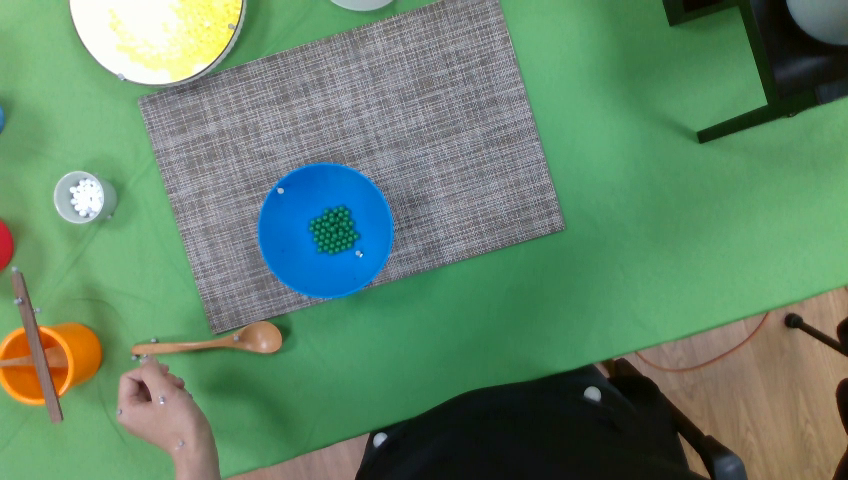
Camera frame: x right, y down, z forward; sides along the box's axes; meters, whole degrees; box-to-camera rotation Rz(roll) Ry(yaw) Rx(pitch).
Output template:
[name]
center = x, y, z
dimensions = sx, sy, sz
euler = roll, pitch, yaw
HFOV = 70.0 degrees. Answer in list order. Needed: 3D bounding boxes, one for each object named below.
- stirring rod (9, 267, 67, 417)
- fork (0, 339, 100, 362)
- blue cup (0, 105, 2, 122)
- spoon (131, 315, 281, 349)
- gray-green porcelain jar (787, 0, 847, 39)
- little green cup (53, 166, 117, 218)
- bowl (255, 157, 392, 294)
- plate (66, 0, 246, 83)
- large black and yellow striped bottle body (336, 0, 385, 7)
[stirring rod]
center = -0.433, 0.115, 0.680
dimensions = 0.014, 0.006, 0.176
euler = -16, 93, 4
[fork]
center = -0.484, 0.133, 0.685
dimensions = 0.209, 0.018, 0.028
euler = 1, 96, -42
[blue cup]
center = -0.549, -0.154, 0.695
dimensions = 0.092, 0.100, 0.092
euler = 0, 94, 3
[spoon]
center = -0.268, 0.119, 0.741
dimensions = 0.194, 0.021, 0.042
euler = -6, 106, 2
[gray-green porcelain jar]
center = 0.360, -0.222, 0.474
dimensions = 0.106, 0.126, 0.106
euler = 0, 93, 3
[little green cup]
center = -0.404, -0.056, 0.727
dimensions = 0.061, 0.038, 0.061
euler = 0, 93, 3
[bowl]
center = -0.108, -0.017, 0.698
dimensions = 0.151, 0.077, 0.151
euler = 0, 93, 2
[plate]
center = -0.310, -0.287, 0.713
dimensions = 0.209, 0.038, 0.209
euler = 0, 93, 1
[large black and yellow striped bottle body]
center = -0.077, -0.338, 0.630
dimensions = 0.131, 0.184, 0.131
euler = 0, 93, 2
